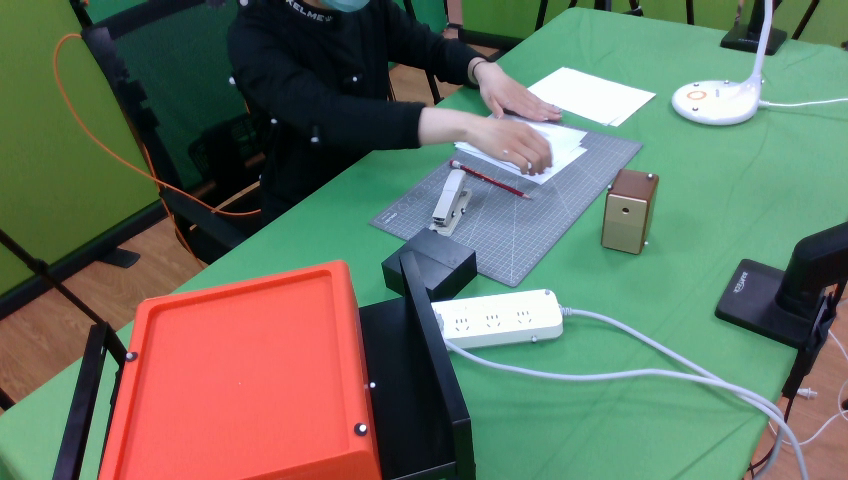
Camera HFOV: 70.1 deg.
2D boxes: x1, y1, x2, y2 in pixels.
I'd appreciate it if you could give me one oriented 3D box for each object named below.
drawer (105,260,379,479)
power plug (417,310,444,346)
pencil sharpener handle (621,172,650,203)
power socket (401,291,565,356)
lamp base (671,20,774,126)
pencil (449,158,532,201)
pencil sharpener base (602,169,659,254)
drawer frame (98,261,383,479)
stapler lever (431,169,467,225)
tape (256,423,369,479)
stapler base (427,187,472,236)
[{"bbox_3d":[-0.150,0.127,0.525,0.195,0.073,0.210,-11,41,-5],"label":"drawer"},{"bbox_3d":[0.006,0.122,0.785,0.035,0.053,0.072,-1,40,9],"label":"power plug"},{"bbox_3d":[0.328,-0.086,0.940,0.036,0.068,0.030,30,49,7],"label":"pencil sharpener handle"},{"bbox_3d":[0.080,0.112,0.822,0.227,0.033,0.072,-6,41,0],"label":"power socket"},{"bbox_3d":[0.581,-0.332,1.154,0.179,0.181,0.160,2,41,7],"label":"lamp base"},{"bbox_3d":[0.117,-0.109,1.091,0.192,0.012,0.012,31,54,33],"label":"pencil"},{"bbox_3d":[0.312,-0.044,0.913,0.061,0.107,0.077,14,45,24],"label":"pencil sharpener base"},{"bbox_3d":[-0.148,0.129,0.520,0.202,0.083,0.212,-12,41,-6],"label":"drawer frame"},{"bbox_3d":[0.043,-0.075,1.010,0.026,0.040,0.118,9,45,20],"label":"stapler lever"},{"bbox_3d":[-0.121,0.263,0.660,0.117,0.053,0.116,-4,39,4],"label":"tape"},{"bbox_3d":[0.045,-0.057,1.028,0.041,0.024,0.130,10,44,20],"label":"stapler base"}]
